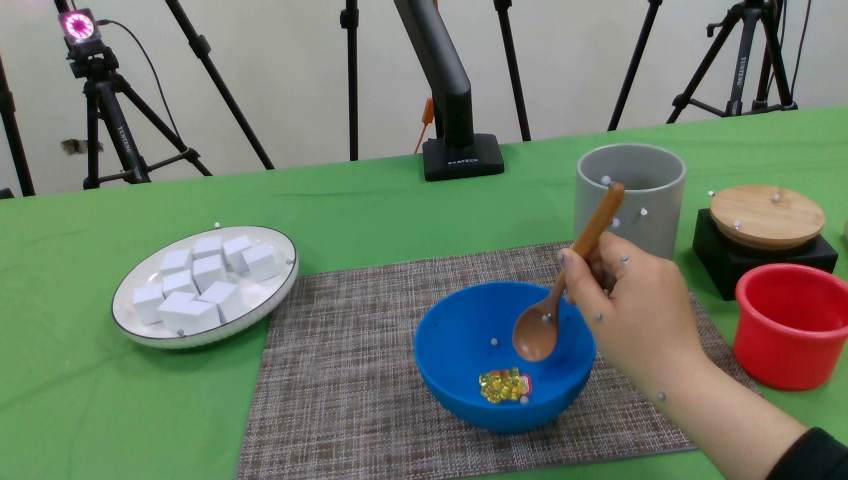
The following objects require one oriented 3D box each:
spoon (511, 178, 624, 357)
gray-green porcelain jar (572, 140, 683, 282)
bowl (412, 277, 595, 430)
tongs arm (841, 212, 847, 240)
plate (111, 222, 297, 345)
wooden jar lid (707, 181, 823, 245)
[{"bbox_3d":[0.106,0.029,0.459,0.022,0.195,0.041,-24,58,-30],"label":"spoon"},{"bbox_3d":[0.213,-0.027,0.647,0.106,0.127,0.105,-5,35,4],"label":"gray-green porcelain jar"},{"bbox_3d":[0.068,0.108,0.521,0.151,0.077,0.150,-5,34,4],"label":"bowl"},{"bbox_3d":[0.444,0.088,0.533,0.028,0.028,0.384,3,36,11],"label":"tongs arm"},{"bbox_3d":[-0.248,0.051,0.702,0.209,0.038,0.207,-6,35,4],"label":"plate"},{"bbox_3d":[0.354,-0.028,0.634,0.108,0.021,0.107,-6,34,4],"label":"wooden jar lid"}]
